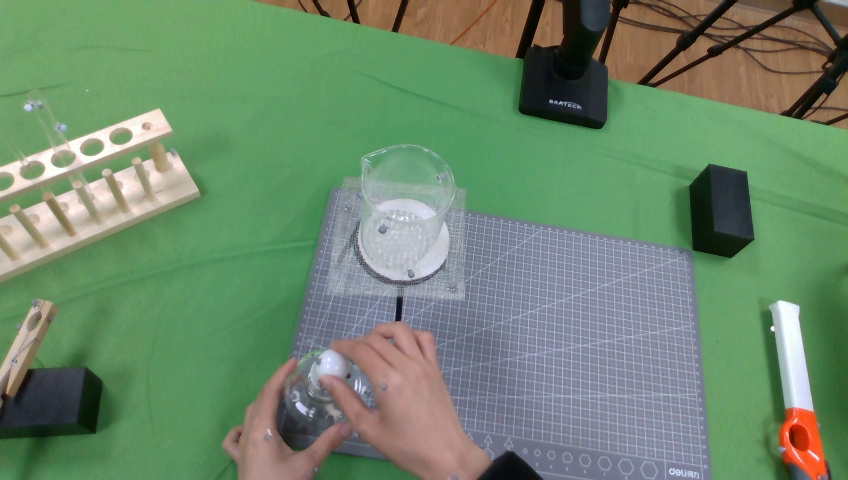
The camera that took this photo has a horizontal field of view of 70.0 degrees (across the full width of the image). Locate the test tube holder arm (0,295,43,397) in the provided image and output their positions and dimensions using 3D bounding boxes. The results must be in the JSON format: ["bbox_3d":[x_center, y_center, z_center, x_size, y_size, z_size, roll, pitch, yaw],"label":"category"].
[{"bbox_3d":[-0.369,0.131,0.522,0.013,0.015,0.177,12,61,-2],"label":"test tube holder arm"}]

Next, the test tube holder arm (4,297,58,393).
[{"bbox_3d":[-0.356,0.093,0.545,0.010,0.015,0.087,13,61,-1],"label":"test tube holder arm"}]

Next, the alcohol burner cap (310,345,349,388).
[{"bbox_3d":[-0.079,0.105,0.513,0.034,0.048,0.033,5,67,-12],"label":"alcohol burner cap"}]

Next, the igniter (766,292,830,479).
[{"bbox_3d":[0.405,0.187,0.657,0.057,0.025,0.274,16,61,-12],"label":"igniter"}]

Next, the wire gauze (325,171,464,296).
[{"bbox_3d":[-0.024,-0.006,0.557,0.121,0.011,0.124,5,66,-4],"label":"wire gauze"}]

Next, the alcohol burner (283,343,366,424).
[{"bbox_3d":[-0.092,0.128,0.563,0.078,0.120,0.077,5,61,-8],"label":"alcohol burner"}]

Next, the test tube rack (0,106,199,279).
[{"bbox_3d":[-0.372,-0.046,0.631,0.242,0.086,0.066,-28,70,-21],"label":"test tube rack"}]

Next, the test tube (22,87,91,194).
[{"bbox_3d":[-0.360,-0.091,0.600,0.017,0.151,0.017,5,57,-7],"label":"test tube"}]

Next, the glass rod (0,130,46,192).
[{"bbox_3d":[-0.394,-0.088,0.574,0.008,0.201,0.008,1,56,-2],"label":"glass rod"}]

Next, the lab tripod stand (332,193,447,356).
[{"bbox_3d":[-0.029,0.028,0.612,0.149,0.132,0.147,4,63,-8],"label":"lab tripod stand"}]

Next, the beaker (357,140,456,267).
[{"bbox_3d":[-0.022,-0.027,0.513,0.084,0.101,0.074,33,63,9],"label":"beaker"}]
